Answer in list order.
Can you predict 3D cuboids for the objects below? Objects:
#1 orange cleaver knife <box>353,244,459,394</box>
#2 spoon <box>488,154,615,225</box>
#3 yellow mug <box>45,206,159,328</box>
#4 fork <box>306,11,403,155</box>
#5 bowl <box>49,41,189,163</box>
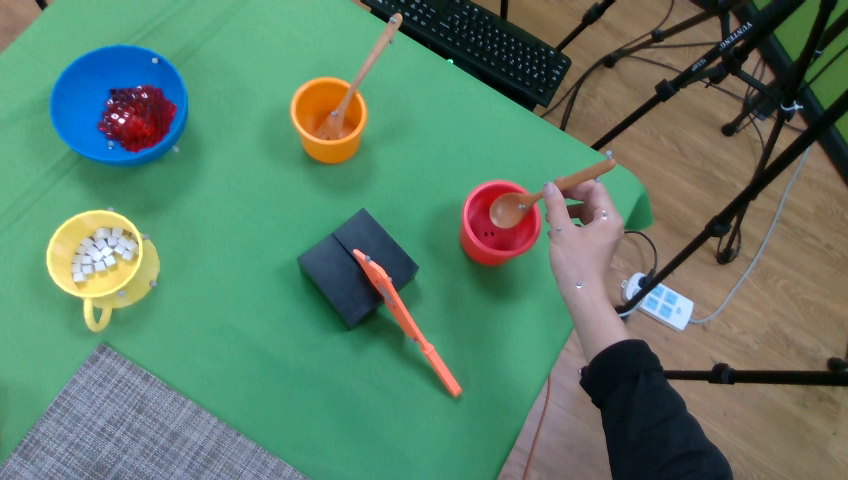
[{"bbox_3d":[-0.020,0.093,0.703,0.012,0.076,0.213,-37,114,-14],"label":"orange cleaver knife"},{"bbox_3d":[0.133,-0.055,0.665,0.022,0.193,0.041,-8,81,-30],"label":"spoon"},{"bbox_3d":[-0.362,0.034,0.684,0.100,0.064,0.130,2,74,-8],"label":"yellow mug"},{"bbox_3d":[-0.086,-0.190,0.743,0.028,0.018,0.208,41,116,6],"label":"fork"},{"bbox_3d":[-0.355,-0.152,0.732,0.152,0.077,0.150,2,74,-7],"label":"bowl"}]
